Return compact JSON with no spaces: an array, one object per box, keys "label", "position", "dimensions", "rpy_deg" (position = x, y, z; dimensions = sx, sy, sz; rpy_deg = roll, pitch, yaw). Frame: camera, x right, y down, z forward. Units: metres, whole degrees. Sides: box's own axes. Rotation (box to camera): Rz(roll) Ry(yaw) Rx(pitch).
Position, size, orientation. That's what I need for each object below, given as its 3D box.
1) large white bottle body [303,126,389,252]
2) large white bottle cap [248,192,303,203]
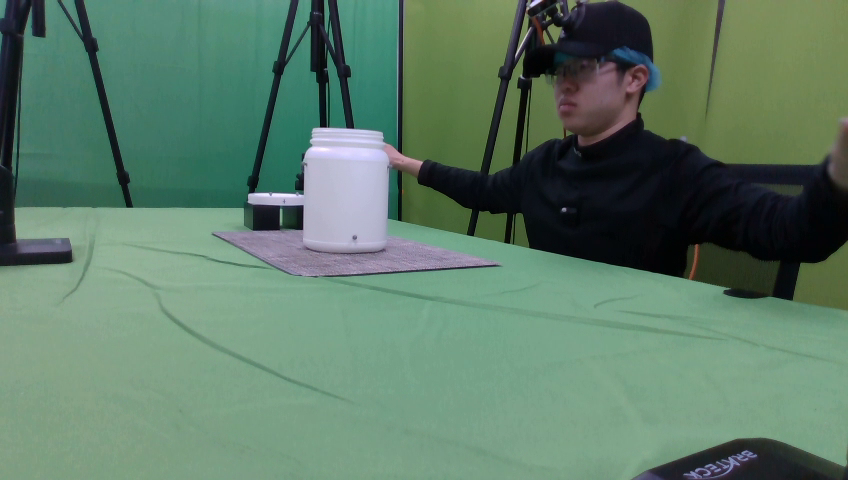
[{"label":"large white bottle body","position":[-0.120,-0.079,0.936],"dimensions":[0.131,0.184,0.130],"rpy_deg":[2,7,0]},{"label":"large white bottle cap","position":[-0.294,-0.084,1.213],"dimensions":[0.115,0.018,0.115],"rpy_deg":[2,7,0]}]
